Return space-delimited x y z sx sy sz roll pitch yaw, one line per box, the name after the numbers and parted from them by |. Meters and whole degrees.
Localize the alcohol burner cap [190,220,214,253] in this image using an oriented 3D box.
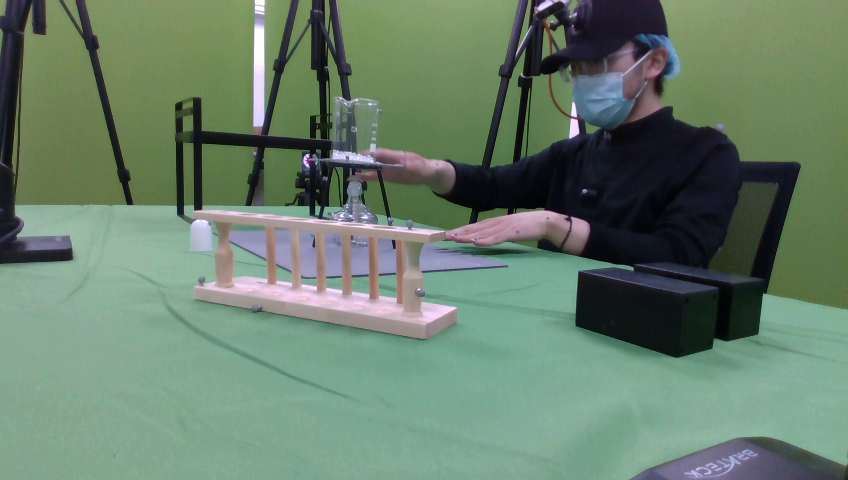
-0.321 -0.006 0.875 0.034 0.048 0.034 4 8 0 | alcohol burner cap

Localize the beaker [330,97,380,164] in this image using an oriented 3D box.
-0.111 -0.171 0.953 0.074 0.100 0.084 5 8 7 | beaker

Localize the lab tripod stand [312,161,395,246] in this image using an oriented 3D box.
-0.110 -0.058 0.970 0.148 0.131 0.148 4 6 0 | lab tripod stand

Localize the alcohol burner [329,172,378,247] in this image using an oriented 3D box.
-0.113 -0.049 0.972 0.078 0.119 0.078 1 9 0 | alcohol burner

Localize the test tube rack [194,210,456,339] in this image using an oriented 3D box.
-0.093 0.023 0.545 0.241 0.085 0.067 6 8 25 | test tube rack

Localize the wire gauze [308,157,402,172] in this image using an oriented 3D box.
-0.111 -0.122 0.956 0.125 0.011 0.121 4 8 -22 | wire gauze
